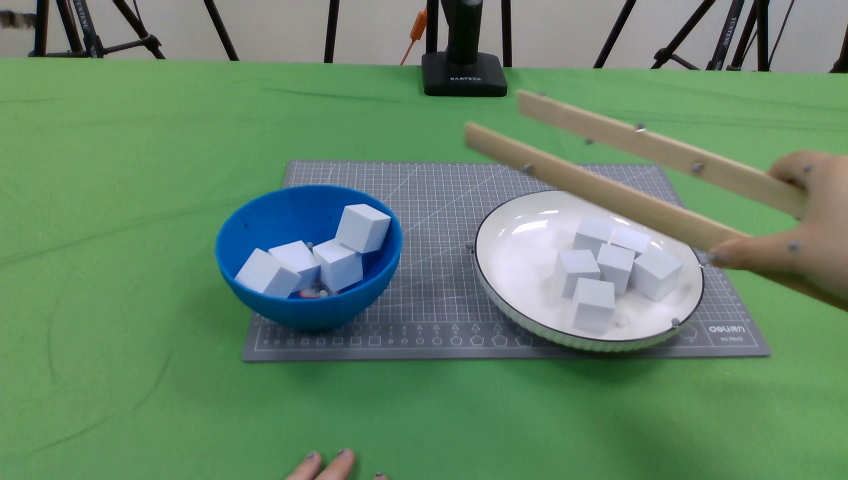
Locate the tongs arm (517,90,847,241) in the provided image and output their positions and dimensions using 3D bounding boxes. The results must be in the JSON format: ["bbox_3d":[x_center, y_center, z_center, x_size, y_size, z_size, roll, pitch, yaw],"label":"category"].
[{"bbox_3d":[0.210,-0.033,0.425,0.381,0.027,0.051,29,51,32],"label":"tongs arm"}]

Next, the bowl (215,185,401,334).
[{"bbox_3d":[-0.094,0.027,0.519,0.151,0.077,0.150,2,40,-2],"label":"bowl"}]

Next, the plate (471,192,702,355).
[{"bbox_3d":[0.146,0.029,0.565,0.208,0.039,0.205,2,40,-2],"label":"plate"}]

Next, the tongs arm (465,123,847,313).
[{"bbox_3d":[0.181,-0.012,0.404,0.384,0.028,0.028,28,48,32],"label":"tongs arm"}]
